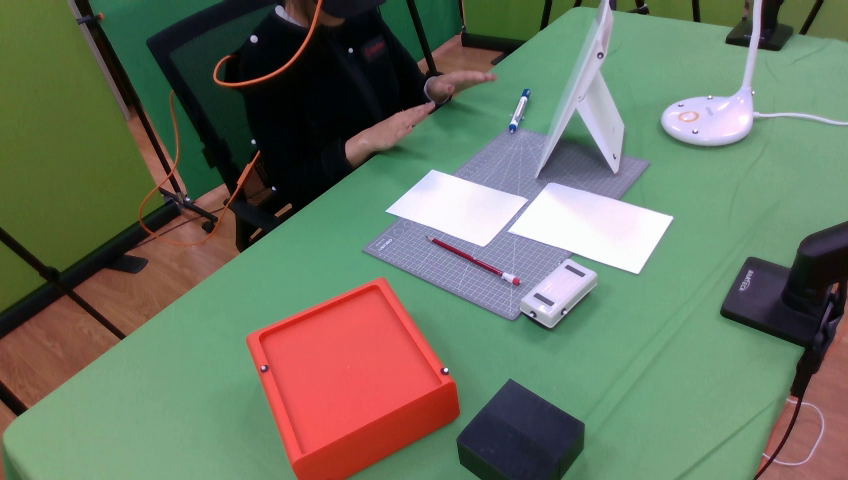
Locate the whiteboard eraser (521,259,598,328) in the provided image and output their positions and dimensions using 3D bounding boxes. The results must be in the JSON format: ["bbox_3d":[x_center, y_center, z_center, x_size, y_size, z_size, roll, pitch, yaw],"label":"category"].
[{"bbox_3d":[0.189,0.076,0.843,0.055,0.042,0.113,29,53,37],"label":"whiteboard eraser"}]

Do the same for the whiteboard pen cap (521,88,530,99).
[{"bbox_3d":[0.218,-0.312,1.301,0.018,0.018,0.033,7,46,18],"label":"whiteboard pen cap"}]

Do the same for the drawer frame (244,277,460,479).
[{"bbox_3d":[-0.093,0.167,0.755,0.202,0.083,0.211,-23,43,-17],"label":"drawer frame"}]

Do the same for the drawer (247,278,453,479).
[{"bbox_3d":[-0.096,0.167,0.758,0.195,0.073,0.210,-22,43,-16],"label":"drawer"}]

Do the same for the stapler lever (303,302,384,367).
[{"bbox_3d":[-0.108,0.124,0.805,0.118,0.040,0.026,-27,36,-15],"label":"stapler lever"}]

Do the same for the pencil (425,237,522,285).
[{"bbox_3d":[0.071,0.029,0.941,0.192,0.012,0.012,26,51,37],"label":"pencil"}]

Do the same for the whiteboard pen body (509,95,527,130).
[{"bbox_3d":[0.199,-0.273,1.261,0.017,0.017,0.140,8,44,19],"label":"whiteboard pen body"}]

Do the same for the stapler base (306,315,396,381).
[{"bbox_3d":[-0.101,0.139,0.819,0.131,0.024,0.041,-31,37,-13],"label":"stapler base"}]

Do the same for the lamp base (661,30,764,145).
[{"bbox_3d":[0.535,-0.287,1.096,0.179,0.181,0.159,-10,40,-4],"label":"lamp base"}]

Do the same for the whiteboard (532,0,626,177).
[{"bbox_3d":[0.321,-0.258,1.050,0.144,0.306,0.217,21,45,5],"label":"whiteboard"}]
